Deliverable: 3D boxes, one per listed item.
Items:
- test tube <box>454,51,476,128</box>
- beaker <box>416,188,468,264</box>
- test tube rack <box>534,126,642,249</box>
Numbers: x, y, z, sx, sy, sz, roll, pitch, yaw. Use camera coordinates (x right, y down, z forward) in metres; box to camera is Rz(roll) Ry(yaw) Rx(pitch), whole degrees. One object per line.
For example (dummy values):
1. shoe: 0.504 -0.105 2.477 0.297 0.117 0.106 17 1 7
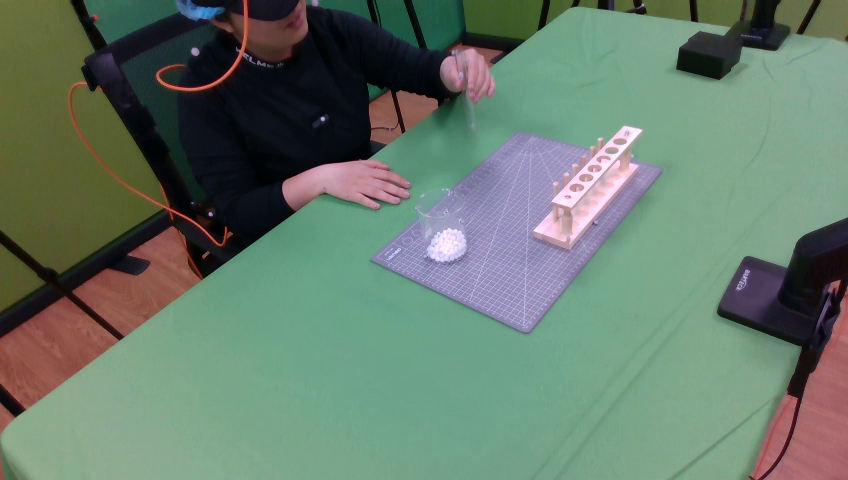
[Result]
1. test tube: 0.073 -0.259 1.057 0.017 0.151 0.017 -9 44 9
2. beaker: 0.031 -0.021 0.937 0.073 0.101 0.084 9 42 20
3. test tube rack: 0.271 -0.095 0.990 0.066 0.085 0.243 23 49 33
